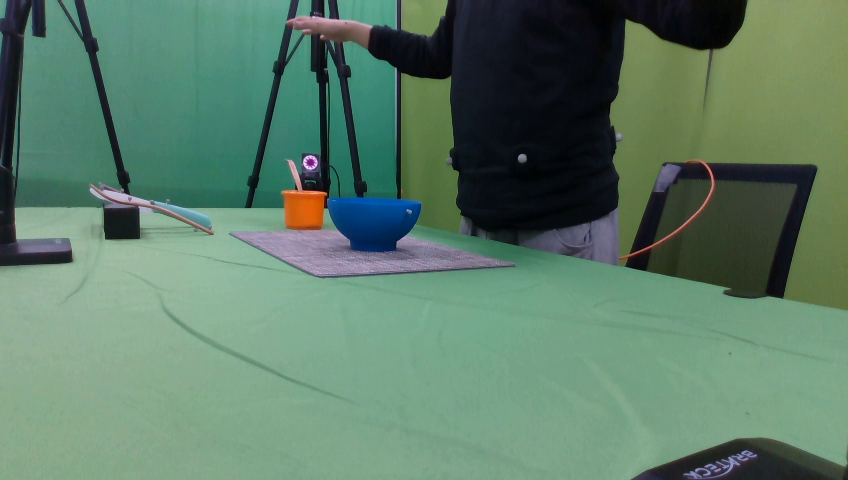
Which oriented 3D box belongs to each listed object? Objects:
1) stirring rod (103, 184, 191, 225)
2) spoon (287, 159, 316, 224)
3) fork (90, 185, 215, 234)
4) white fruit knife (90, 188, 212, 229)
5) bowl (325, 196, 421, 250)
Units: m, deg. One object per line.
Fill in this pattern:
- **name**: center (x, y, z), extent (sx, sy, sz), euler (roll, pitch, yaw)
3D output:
- **stirring rod**: center (-0.507, -0.063, 1.129), extent (0.177, 0.006, 0.014), euler (27, 1, -31)
- **spoon**: center (-0.261, -0.104, 1.264), extent (0.042, 0.193, 0.021), euler (0, -37, -28)
- **fork**: center (-0.452, -0.049, 1.018), extent (0.208, 0.018, 0.028), euler (21, -7, -33)
- **white fruit knife**: center (-0.478, -0.058, 1.073), extent (0.208, 0.027, 0.016), euler (17, -4, -30)
- **bowl**: center (-0.081, -0.027, 0.957), extent (0.151, 0.077, 0.151), euler (2, 7, 0)
